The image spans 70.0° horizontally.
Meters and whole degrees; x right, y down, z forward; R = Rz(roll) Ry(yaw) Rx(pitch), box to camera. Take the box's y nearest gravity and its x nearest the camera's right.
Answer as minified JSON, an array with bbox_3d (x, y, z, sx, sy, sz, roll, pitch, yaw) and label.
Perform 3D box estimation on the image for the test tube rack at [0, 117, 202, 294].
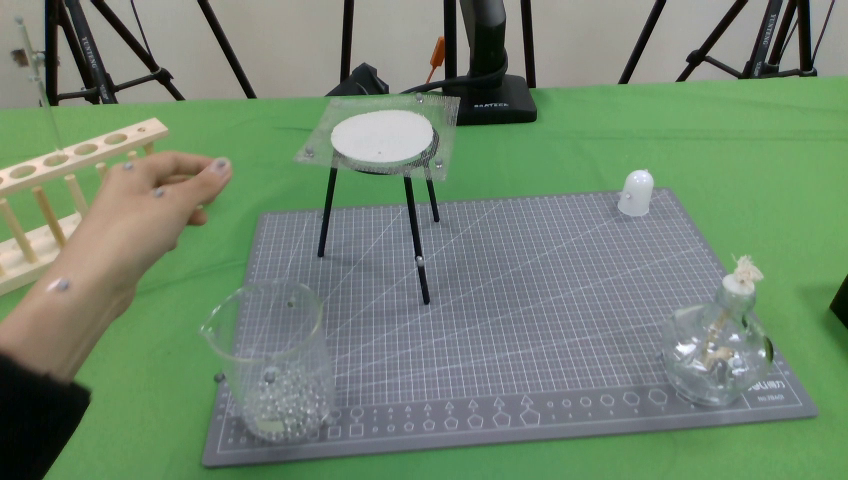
[{"bbox_3d":[-0.355,-0.032,0.591,0.242,0.086,0.066,-30,48,-30],"label":"test tube rack"}]

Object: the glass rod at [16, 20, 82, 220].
[{"bbox_3d":[-0.353,-0.106,0.576,0.008,0.201,0.008,2,33,-1],"label":"glass rod"}]

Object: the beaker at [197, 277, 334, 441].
[{"bbox_3d":[-0.106,0.087,0.427,0.084,0.101,0.073,-5,40,-4],"label":"beaker"}]

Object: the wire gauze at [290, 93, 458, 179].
[{"bbox_3d":[-0.038,-0.093,0.509,0.125,0.011,0.120,4,41,8],"label":"wire gauze"}]

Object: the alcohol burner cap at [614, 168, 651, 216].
[{"bbox_3d":[0.219,-0.053,0.632,0.034,0.048,0.033,0,40,1],"label":"alcohol burner cap"}]

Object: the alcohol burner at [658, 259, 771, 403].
[{"bbox_3d":[0.214,0.062,0.438,0.078,0.120,0.077,-1,38,1],"label":"alcohol burner"}]

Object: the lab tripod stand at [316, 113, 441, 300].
[{"bbox_3d":[-0.034,-0.035,0.545,0.148,0.133,0.147,-1,42,2],"label":"lab tripod stand"}]
